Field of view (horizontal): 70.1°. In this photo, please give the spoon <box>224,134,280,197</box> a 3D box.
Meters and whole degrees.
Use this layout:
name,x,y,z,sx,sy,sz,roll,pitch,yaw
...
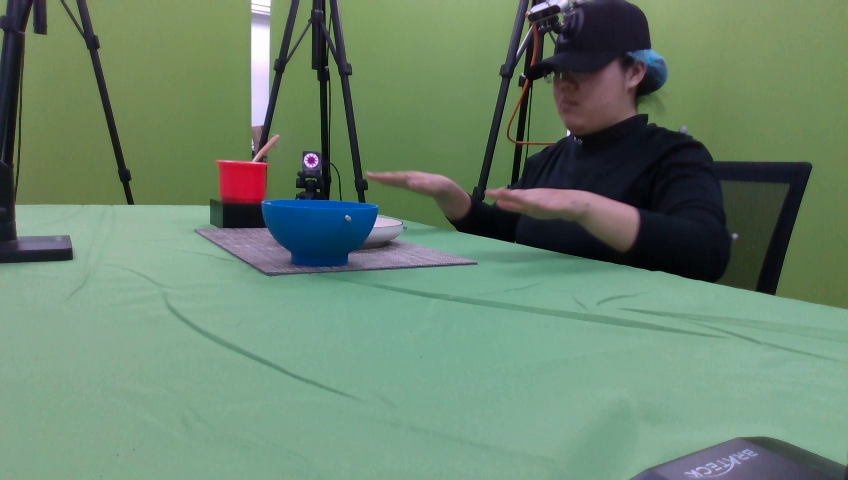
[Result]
name,x,y,z,sx,sy,sz,roll,pitch,yaw
spoon,-0.333,-0.150,1.192,0.041,0.022,0.194,6,52,24

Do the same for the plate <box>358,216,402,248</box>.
name,x,y,z,sx,sy,sz,roll,pitch,yaw
plate,-0.140,-0.015,0.993,0.208,0.039,0.207,3,7,0

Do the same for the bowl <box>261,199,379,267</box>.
name,x,y,z,sx,sy,sz,roll,pitch,yaw
bowl,-0.135,-0.009,0.786,0.151,0.077,0.151,3,7,0
